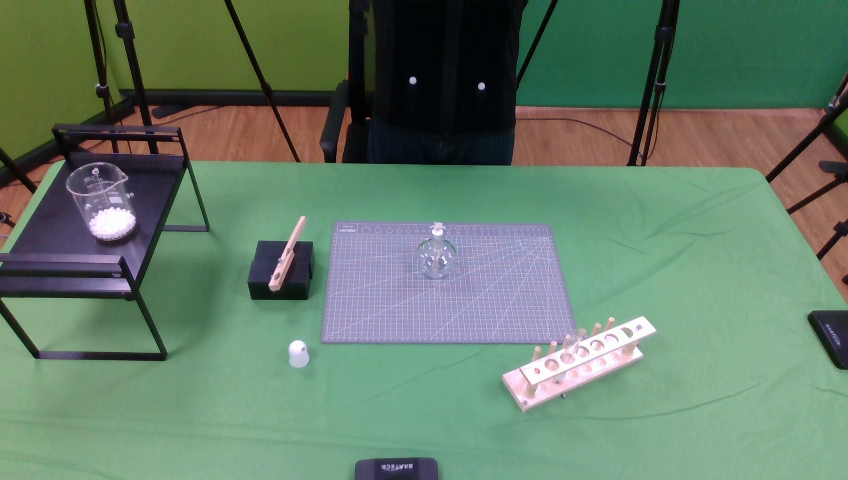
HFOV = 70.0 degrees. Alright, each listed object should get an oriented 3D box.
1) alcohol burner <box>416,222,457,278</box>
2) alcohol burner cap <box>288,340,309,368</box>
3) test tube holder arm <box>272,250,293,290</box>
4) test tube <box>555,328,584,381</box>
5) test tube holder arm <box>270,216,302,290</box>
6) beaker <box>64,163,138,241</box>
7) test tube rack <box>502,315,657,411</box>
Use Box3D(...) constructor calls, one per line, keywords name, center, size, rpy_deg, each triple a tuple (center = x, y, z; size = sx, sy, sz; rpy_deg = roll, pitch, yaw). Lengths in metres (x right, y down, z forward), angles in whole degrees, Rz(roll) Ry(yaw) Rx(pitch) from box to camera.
Box3D(name="alcohol burner", center=(0.024, 0.013, 1.116), size=(0.078, 0.120, 0.077), rpy_deg=(1, 45, -1))
Box3D(name="alcohol burner cap", center=(-0.207, 0.183, 0.991), size=(0.034, 0.048, 0.033), rpy_deg=(3, 47, -3))
Box3D(name="test tube holder arm", center=(-0.248, 0.051, 1.063), size=(0.010, 0.015, 0.087), rpy_deg=(8, 45, 3))
Box3D(name="test tube", center=(0.221, 0.178, 0.926), size=(0.017, 0.151, 0.017), rpy_deg=(0, 51, 0))
Box3D(name="test tube holder arm", center=(-0.248, 0.019, 1.095), size=(0.013, 0.015, 0.177), rpy_deg=(7, 45, 1))
Box3D(name="beaker", center=(-0.477, -0.055, 0.910), size=(0.084, 0.101, 0.073), rpy_deg=(-9, 48, -13))
Box3D(name="test tube rack", center=(0.253, 0.186, 0.988), size=(0.242, 0.085, 0.066), rpy_deg=(-18, 50, -20))
